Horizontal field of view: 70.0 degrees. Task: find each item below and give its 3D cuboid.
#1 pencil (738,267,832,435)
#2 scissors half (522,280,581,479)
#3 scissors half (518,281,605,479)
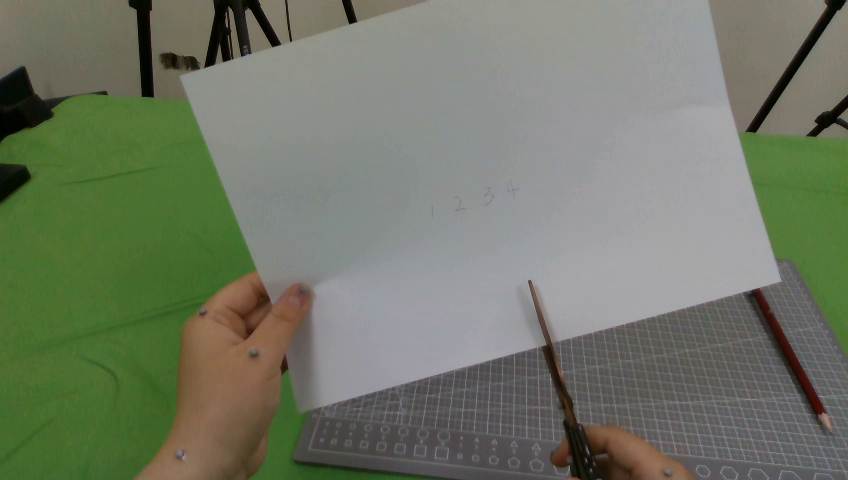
[{"bbox_3d":[0.316,0.089,0.537,0.012,0.012,0.192,2,39,2],"label":"pencil"},{"bbox_3d":[0.085,0.107,0.367,0.013,0.175,0.040,-18,5,-5],"label":"scissors half"},{"bbox_3d":[0.084,0.103,0.345,0.013,0.040,0.174,-18,68,0],"label":"scissors half"}]
